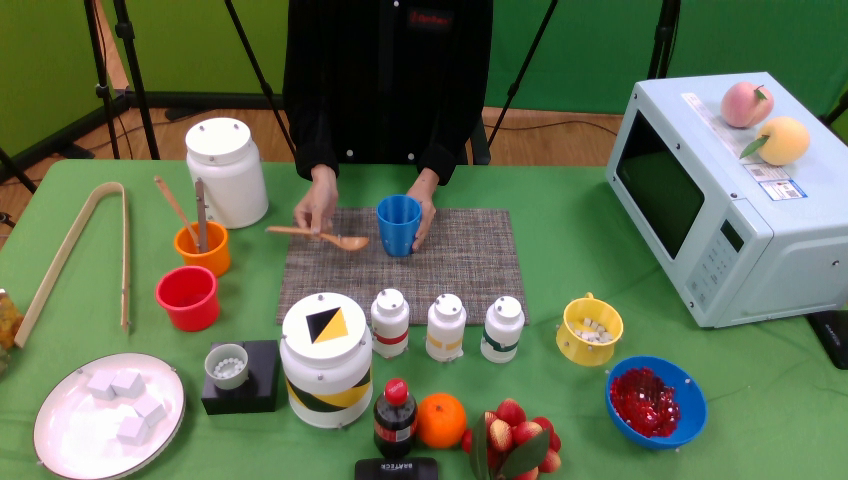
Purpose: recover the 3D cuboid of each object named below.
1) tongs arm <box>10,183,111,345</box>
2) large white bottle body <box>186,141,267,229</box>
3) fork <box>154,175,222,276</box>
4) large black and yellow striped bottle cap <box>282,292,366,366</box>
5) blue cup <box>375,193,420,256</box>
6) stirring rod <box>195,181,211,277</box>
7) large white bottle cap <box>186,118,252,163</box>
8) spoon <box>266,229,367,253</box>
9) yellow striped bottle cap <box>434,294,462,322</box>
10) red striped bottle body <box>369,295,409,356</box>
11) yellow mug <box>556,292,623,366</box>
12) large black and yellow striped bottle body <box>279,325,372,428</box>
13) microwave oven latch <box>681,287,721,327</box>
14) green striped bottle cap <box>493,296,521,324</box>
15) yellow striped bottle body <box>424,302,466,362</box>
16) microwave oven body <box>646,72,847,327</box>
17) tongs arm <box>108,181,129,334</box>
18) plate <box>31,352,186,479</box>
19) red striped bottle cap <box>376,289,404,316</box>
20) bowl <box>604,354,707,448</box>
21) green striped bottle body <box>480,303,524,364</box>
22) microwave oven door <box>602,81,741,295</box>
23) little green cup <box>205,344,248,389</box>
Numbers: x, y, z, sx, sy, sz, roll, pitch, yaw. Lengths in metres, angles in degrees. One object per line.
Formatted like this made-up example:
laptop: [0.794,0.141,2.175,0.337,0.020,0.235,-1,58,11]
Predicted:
tongs arm: [-0.658,0.027,1.109,0.028,0.028,0.385,-2,45,2]
large white bottle body: [-0.383,-0.127,1.175,0.131,0.185,0.130,2,47,-2]
fork: [-0.431,-0.026,1.101,0.028,0.018,0.207,-33,100,-25]
large black and yellow striped bottle cap: [-0.138,0.121,0.841,0.115,0.019,0.114,3,47,-3]
blue cup: [-0.050,-0.023,1.156,0.093,0.101,0.092,1,47,-1]
stirring rod: [-0.403,-0.020,1.104,0.014,0.006,0.176,-6,89,-8]
large white bottle cap: [-0.377,-0.185,1.115,0.115,0.018,0.114,2,47,-2]
spoon: [-0.197,-0.003,1.101,0.193,0.022,0.041,12,38,9]
yellow striped bottle cap: [0.038,0.107,0.959,0.044,0.019,0.044,2,45,-2]
red striped bottle body: [-0.059,0.134,0.997,0.063,0.120,0.062,5,48,-5]
yellow mug: [0.285,0.145,1.051,0.100,0.064,0.130,7,46,4]
large black and yellow striped bottle body: [-0.143,0.181,0.900,0.131,0.185,0.130,2,46,-2]
microwave oven latch: [0.494,0.119,1.087,0.030,0.029,0.078,-5,46,-9]
green striped bottle cap: [0.133,0.111,0.962,0.044,0.020,0.044,2,47,-2]
yellow striped bottle body: [0.035,0.143,0.995,0.063,0.121,0.062,3,46,-3]
microwave oven body: [0.607,-0.089,1.163,0.326,0.261,0.438,-7,46,-10]
tongs arm: [-0.571,0.019,1.123,0.051,0.026,0.382,-10,47,-12]
plate: [-0.459,0.262,0.898,0.209,0.038,0.208,2,46,-2]
red striped bottle cap: [-0.055,0.098,0.958,0.044,0.018,0.044,0,48,0]
bowl: [0.346,0.261,0.937,0.151,0.077,0.150,2,46,-2]
green striped bottle body: [0.129,0.147,1.000,0.063,0.120,0.063,2,46,-2]
microwave oven door: [0.456,-0.107,1.162,0.039,0.245,0.353,-7,47,-11]
little green cup: [-0.294,0.191,0.909,0.061,0.039,0.061,1,47,-1]
